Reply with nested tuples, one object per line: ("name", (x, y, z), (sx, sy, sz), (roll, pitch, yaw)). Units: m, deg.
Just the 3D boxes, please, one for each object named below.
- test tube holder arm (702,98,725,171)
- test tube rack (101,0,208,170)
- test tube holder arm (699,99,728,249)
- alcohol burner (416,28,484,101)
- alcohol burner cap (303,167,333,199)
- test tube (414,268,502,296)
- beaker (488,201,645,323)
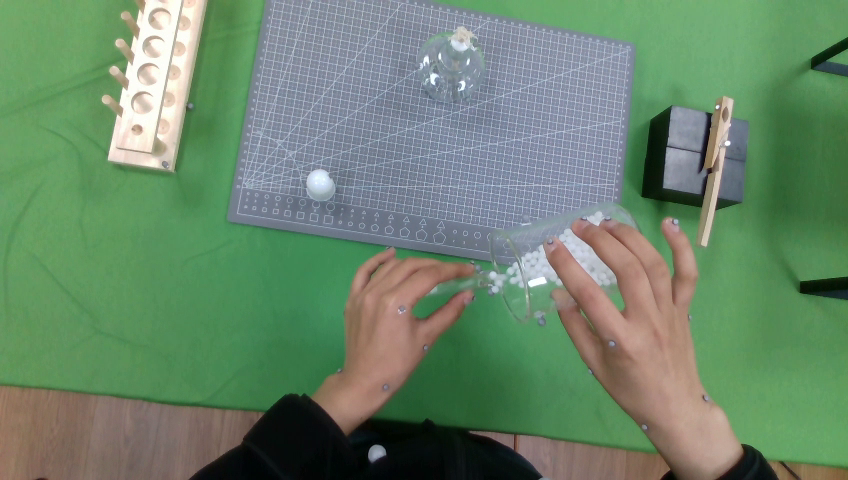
("test tube holder arm", (0.337, -0.122, 0.706), (0.010, 0.015, 0.087), (11, 83, -4))
("test tube rack", (-0.284, -0.205, 0.635), (0.067, 0.085, 0.241), (9, 82, -7))
("test tube holder arm", (0.335, -0.077, 0.701), (0.013, 0.015, 0.178), (9, 83, -5))
("alcohol burner", (0.031, -0.199, 0.665), (0.078, 0.119, 0.077), (1, 84, -6))
("alcohol burner cap", (-0.117, -0.064, 0.664), (0.034, 0.048, 0.034), (1, 84, -9))
("test tube", (0.027, 0.040, 0.558), (0.017, 0.150, 0.017), (4, 81, -25))
("beaker", (0.107, 0.014, 0.463), (0.100, 0.084, 0.074), (-15, 85, -10))
